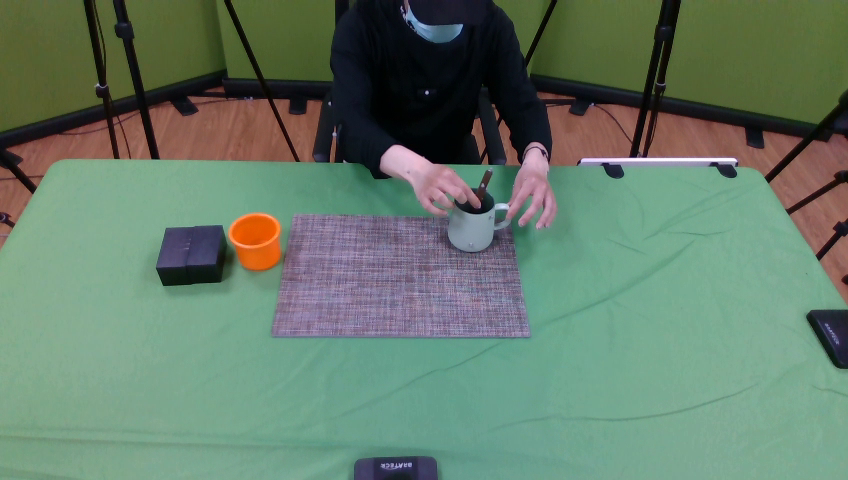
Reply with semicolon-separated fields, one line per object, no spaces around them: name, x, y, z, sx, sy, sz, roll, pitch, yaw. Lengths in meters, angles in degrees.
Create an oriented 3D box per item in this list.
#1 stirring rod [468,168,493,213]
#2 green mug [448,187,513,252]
stirring rod;0.095;-0.066;1.132;0.014;0.177;0.006;9;45;-12
green mug;0.112;-0.041;1.179;0.125;0.105;0.092;-7;47;-10
